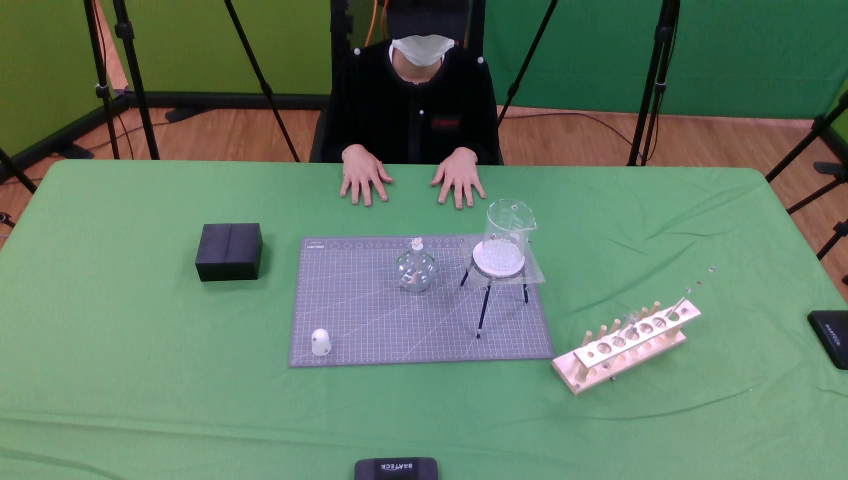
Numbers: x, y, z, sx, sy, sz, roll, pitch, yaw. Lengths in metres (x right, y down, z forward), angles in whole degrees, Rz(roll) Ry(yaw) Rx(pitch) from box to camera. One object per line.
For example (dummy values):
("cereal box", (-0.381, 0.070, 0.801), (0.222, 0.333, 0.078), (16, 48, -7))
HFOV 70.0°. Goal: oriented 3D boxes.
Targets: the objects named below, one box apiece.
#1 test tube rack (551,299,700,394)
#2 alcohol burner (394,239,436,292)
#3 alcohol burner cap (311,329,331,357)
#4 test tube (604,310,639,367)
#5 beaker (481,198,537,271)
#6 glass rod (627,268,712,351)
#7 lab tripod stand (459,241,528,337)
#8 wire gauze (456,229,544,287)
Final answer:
("test tube rack", (0.339, 0.166, 1.021), (0.242, 0.085, 0.066), (-19, 50, -21))
("alcohol burner", (-0.016, 0.038, 1.093), (0.078, 0.119, 0.077), (2, 48, -2))
("alcohol burner cap", (-0.173, 0.168, 1.005), (0.034, 0.048, 0.033), (2, 46, -2))
("test tube", (0.310, 0.158, 0.957), (0.017, 0.151, 0.017), (1, 49, -1))
("beaker", (0.134, -0.005, 0.974), (0.084, 0.101, 0.074), (23, 49, 16))
("glass rod", (0.399, 0.117, 0.995), (0.008, 0.200, 0.008), (26, 29, -15))
("lab tripod stand", (0.122, 0.075, 1.054), (0.148, 0.132, 0.147), (3, 44, -3))
("wire gauze", (0.125, 0.030, 1.008), (0.125, 0.011, 0.120), (-3, 48, -11))
